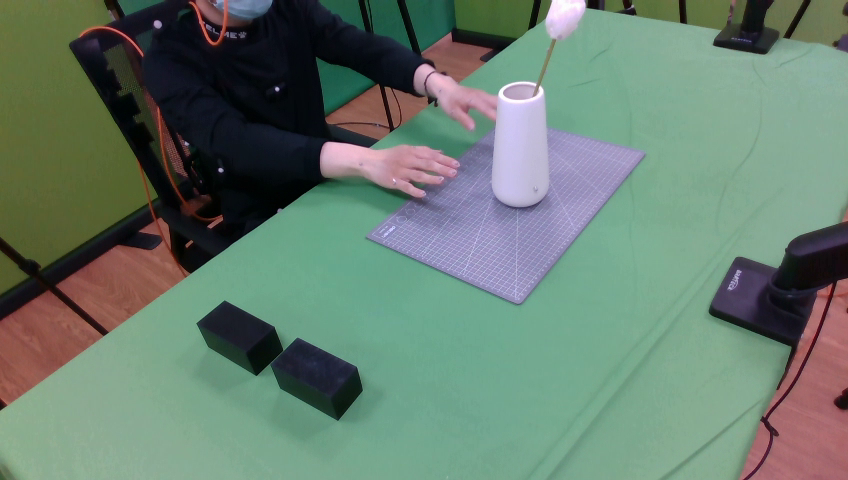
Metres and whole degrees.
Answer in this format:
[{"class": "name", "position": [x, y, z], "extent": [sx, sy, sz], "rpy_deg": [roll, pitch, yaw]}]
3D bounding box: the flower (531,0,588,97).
[{"class": "flower", "position": [0.163, -0.206, 0.918], "extent": [0.044, 0.362, 0.038], "rpy_deg": [10, 52, -5]}]

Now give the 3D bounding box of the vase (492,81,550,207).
[{"class": "vase", "position": [0.159, -0.151, 0.982], "extent": [0.098, 0.201, 0.097], "rpy_deg": [-3, 41, 3]}]
